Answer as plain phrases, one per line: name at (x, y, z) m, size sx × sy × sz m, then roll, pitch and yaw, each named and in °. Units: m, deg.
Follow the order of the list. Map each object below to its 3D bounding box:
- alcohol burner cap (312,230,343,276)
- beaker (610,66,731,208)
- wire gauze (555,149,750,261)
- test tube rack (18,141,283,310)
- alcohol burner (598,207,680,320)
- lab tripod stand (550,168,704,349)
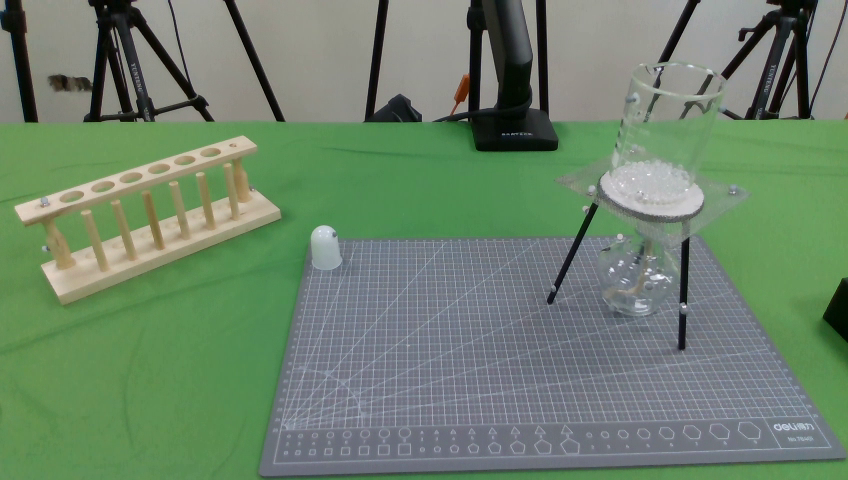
alcohol burner cap at (-0.104, 0.011, 0.643) m, size 0.034 × 0.048 × 0.033 m, roll 1°, pitch 36°, yaw 0°
beaker at (0.198, -0.086, 0.506) m, size 0.074 × 0.101 × 0.083 m, roll -5°, pitch 37°, yaw -8°
wire gauze at (0.197, -0.040, 0.526) m, size 0.121 × 0.011 × 0.124 m, roll -25°, pitch 47°, yaw -29°
test tube rack at (-0.282, -0.024, 0.657) m, size 0.243 × 0.086 × 0.066 m, roll -26°, pitch 43°, yaw -32°
alcohol burner at (0.208, 0.017, 0.576) m, size 0.078 × 0.120 × 0.077 m, roll 1°, pitch 38°, yaw 0°
lab tripod stand at (0.201, 0.012, 0.565) m, size 0.148 × 0.132 × 0.147 m, roll 2°, pitch 36°, yaw -1°
